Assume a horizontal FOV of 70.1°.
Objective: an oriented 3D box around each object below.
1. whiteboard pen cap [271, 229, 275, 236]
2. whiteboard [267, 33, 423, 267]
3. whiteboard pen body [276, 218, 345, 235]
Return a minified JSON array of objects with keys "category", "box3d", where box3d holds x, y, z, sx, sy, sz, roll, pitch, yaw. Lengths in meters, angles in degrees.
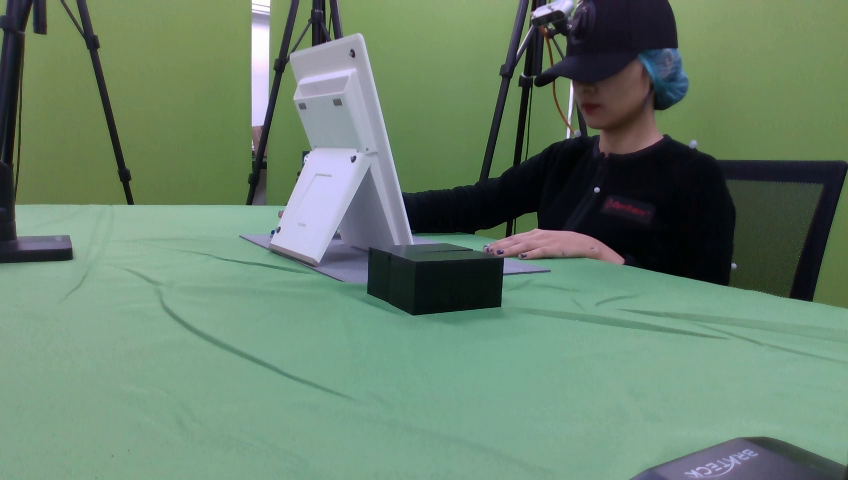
[{"category":"whiteboard pen cap","box3d":[-0.234,-0.011,0.996,0.018,0.018,0.033,8,15,43]},{"category":"whiteboard","box3d":[-0.153,-0.097,0.819,0.144,0.305,0.216,-25,21,-29]},{"category":"whiteboard pen body","box3d":[-0.193,-0.022,1.039,0.017,0.017,0.141,8,15,42]}]
